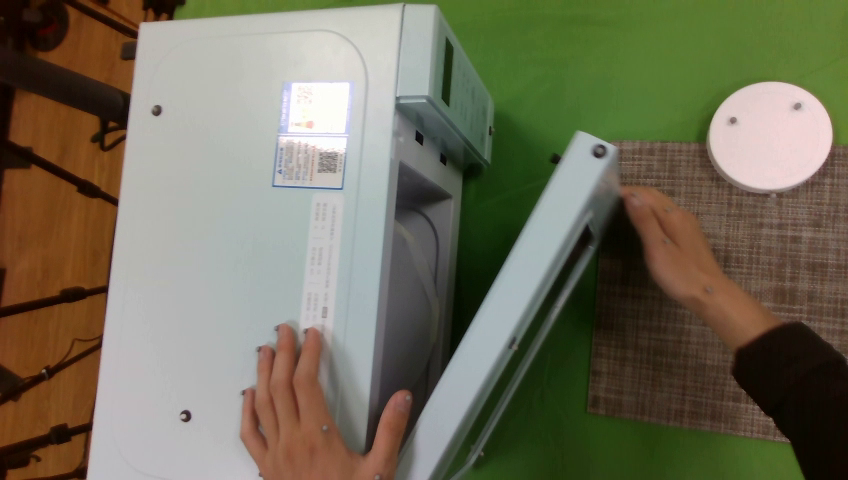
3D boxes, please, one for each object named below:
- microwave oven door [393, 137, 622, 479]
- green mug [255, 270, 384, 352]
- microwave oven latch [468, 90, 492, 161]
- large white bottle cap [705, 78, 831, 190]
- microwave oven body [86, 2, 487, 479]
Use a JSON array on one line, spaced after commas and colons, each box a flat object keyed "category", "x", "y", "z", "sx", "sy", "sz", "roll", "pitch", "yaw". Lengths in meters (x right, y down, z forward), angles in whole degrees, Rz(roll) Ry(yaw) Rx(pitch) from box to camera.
[{"category": "microwave oven door", "x": 0.078, "y": 0.094, "z": 0.561, "sx": 0.039, "sy": 0.245, "sz": 0.356, "roll": 30, "pitch": 94, "yaw": 20}, {"category": "green mug", "x": -0.105, "y": 0.074, "z": 0.650, "sx": 0.125, "sy": 0.105, "sz": 0.092, "roll": -9, "pitch": 83, "yaw": 13}, {"category": "microwave oven latch", "x": 0.062, "y": -0.132, "z": 0.697, "sx": 0.030, "sy": 0.029, "sz": 0.079, "roll": 4, "pitch": 86, "yaw": 18}, {"category": "large white bottle cap", "x": 0.353, "y": -0.109, "z": 0.625, "sx": 0.114, "sy": 0.018, "sz": 0.114, "roll": -2, "pitch": 83, "yaw": 17}, {"category": "microwave oven body", "x": -0.123, "y": 0.025, "z": 0.638, "sx": 0.325, "sy": 0.261, "sz": 0.440, "roll": 3, "pitch": 86, "yaw": 18}]
